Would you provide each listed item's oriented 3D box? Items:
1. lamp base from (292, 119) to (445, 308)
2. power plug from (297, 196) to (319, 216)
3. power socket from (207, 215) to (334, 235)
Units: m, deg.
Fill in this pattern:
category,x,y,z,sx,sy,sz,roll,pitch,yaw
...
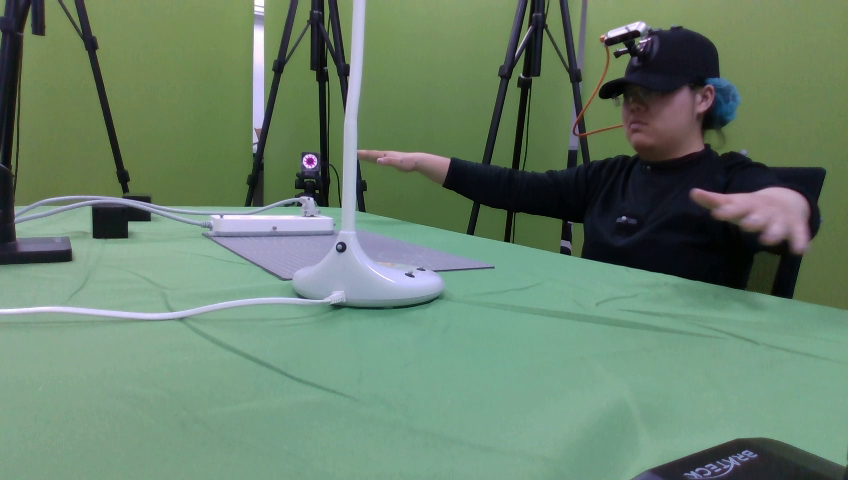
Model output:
category,x,y,z,sx,sy,sz,roll,pitch,yaw
lamp base,-0.056,-0.030,0.616,0.160,0.180,0.179,3,10,8
power plug,-0.219,-0.057,1.142,0.035,0.052,0.072,0,7,-19
power socket,-0.270,-0.028,1.082,0.228,0.032,0.072,-2,7,-30
